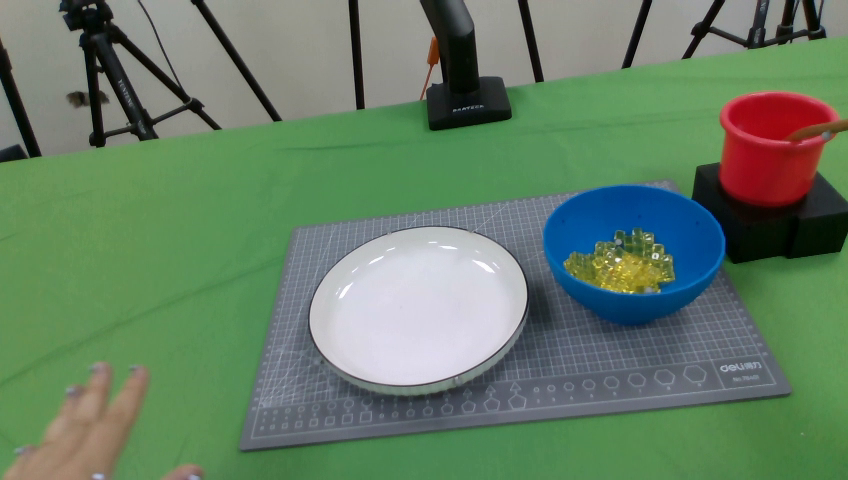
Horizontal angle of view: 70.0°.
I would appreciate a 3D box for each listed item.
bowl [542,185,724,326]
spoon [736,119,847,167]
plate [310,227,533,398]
[{"bbox_3d":[0.184,0.025,0.549,0.151,0.077,0.150,-6,40,6],"label":"bowl"},{"bbox_3d":[0.318,-0.084,0.522,0.041,0.021,0.194,-2,-4,8],"label":"spoon"},{"bbox_3d":[-0.002,0.066,0.574,0.207,0.039,0.205,-6,40,6],"label":"plate"}]
